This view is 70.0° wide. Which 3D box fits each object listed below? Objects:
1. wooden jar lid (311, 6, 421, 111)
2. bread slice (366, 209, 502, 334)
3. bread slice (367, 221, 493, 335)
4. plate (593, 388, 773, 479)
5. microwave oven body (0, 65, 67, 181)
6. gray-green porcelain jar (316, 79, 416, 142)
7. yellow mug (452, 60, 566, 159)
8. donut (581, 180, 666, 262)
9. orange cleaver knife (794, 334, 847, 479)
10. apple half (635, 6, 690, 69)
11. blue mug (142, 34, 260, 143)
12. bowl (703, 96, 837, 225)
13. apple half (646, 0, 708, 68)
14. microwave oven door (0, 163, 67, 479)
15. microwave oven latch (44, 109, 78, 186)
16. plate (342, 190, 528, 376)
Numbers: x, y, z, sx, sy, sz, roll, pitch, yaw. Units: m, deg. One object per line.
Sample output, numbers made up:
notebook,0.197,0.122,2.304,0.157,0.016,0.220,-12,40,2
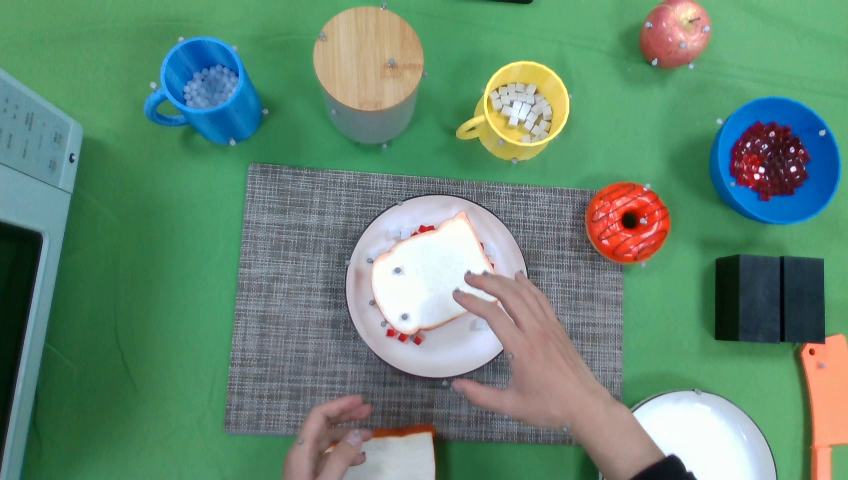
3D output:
wooden jar lid,-0.057,-0.179,0.604,0.108,0.021,0.108,1,81,-5
bread slice,0.006,0.042,0.662,0.134,0.018,0.106,-27,83,-9
bread slice,0.003,0.049,0.688,0.131,0.019,0.104,-23,86,-9
plate,0.291,0.273,0.693,0.209,0.038,0.208,1,83,-5
microwave oven body,-0.553,0.043,0.520,0.326,0.260,0.440,7,83,-5
gray-green porcelain jar,-0.063,-0.170,0.666,0.106,0.126,0.105,1,83,-5
yellow mug,0.094,-0.146,0.709,0.131,0.064,0.099,-20,86,-7
donut,0.234,-0.022,0.715,0.099,0.048,0.099,1,84,-6
orange cleaver knife,0.481,0.218,0.728,0.077,0.012,0.210,6,81,-12
apple half,0.277,-0.236,0.732,0.033,0.081,0.081,-30,86,-13
blue mug,-0.244,-0.155,0.656,0.116,0.106,0.082,-22,85,-7
bowl,0.395,-0.087,0.725,0.151,0.077,0.151,1,84,-5
apple half,0.310,-0.255,0.739,0.053,0.075,0.080,-29,83,-14
microwave oven door,-0.413,0.103,0.522,0.039,0.244,0.354,7,82,-4
microwave oven latch,-0.395,-0.100,0.650,0.030,0.029,0.079,9,83,-5
plate,0.012,0.049,0.688,0.208,0.039,0.207,1,83,-6
